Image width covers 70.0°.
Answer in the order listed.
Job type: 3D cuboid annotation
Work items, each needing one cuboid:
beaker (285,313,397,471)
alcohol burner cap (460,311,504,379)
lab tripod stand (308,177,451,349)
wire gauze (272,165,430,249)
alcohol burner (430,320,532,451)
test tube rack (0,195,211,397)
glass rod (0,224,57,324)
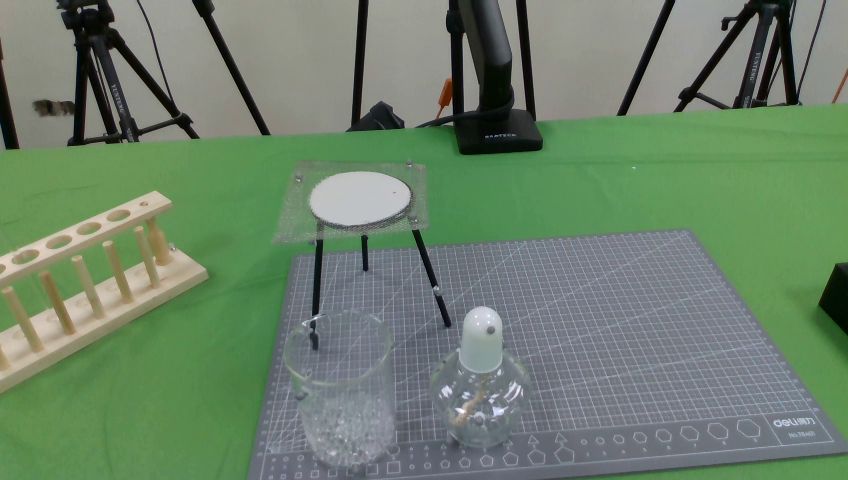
[{"bbox_3d":[-0.059,0.114,0.448,0.083,0.101,0.074,25,43,34],"label":"beaker"},{"bbox_3d":[0.042,0.071,0.429,0.034,0.048,0.033,0,37,0],"label":"alcohol burner cap"},{"bbox_3d":[-0.046,0.020,0.552,0.148,0.132,0.147,0,34,0],"label":"lab tripod stand"},{"bbox_3d":[-0.057,-0.033,0.511,0.121,0.011,0.124,-1,36,-1],"label":"wire gauze"},{"bbox_3d":[0.042,0.100,0.449,0.078,0.120,0.077,-1,37,1],"label":"alcohol burner"},{"bbox_3d":[-0.334,0.052,0.568,0.066,0.086,0.242,26,44,34],"label":"test tube rack"},{"bbox_3d":[-0.371,-0.003,0.532,0.008,0.201,0.008,-6,33,4],"label":"glass rod"}]
